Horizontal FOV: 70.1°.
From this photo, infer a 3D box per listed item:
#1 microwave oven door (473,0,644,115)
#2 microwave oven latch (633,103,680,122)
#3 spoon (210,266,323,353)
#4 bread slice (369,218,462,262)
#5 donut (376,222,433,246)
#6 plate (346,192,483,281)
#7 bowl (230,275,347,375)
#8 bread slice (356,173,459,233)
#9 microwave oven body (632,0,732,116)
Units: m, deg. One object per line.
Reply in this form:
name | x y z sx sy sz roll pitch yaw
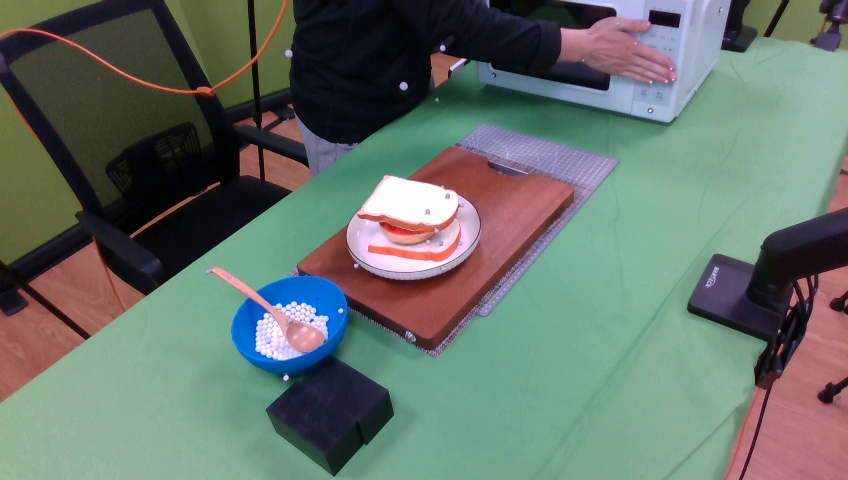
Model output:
microwave oven door | 0.257 -0.396 1.199 0.353 0.245 0.039 21 48 29
microwave oven latch | 0.443 -0.249 1.158 0.078 0.029 0.030 20 48 30
spoon | -0.213 0.087 0.806 0.193 0.021 0.042 37 57 11
bread slice | -0.008 -0.010 0.928 0.131 0.019 0.105 7 44 20
donut | -0.023 -0.031 0.906 0.099 0.048 0.098 -9 42 8
plate | -0.013 -0.008 0.922 0.207 0.039 0.206 -4 40 4
bowl | -0.170 0.125 0.802 0.151 0.077 0.150 -4 40 4
bread slice | -0.018 -0.053 0.886 0.134 0.018 0.107 12 42 12
microwave oven body | 0.377 -0.463 1.267 0.438 0.261 0.327 21 49 30
